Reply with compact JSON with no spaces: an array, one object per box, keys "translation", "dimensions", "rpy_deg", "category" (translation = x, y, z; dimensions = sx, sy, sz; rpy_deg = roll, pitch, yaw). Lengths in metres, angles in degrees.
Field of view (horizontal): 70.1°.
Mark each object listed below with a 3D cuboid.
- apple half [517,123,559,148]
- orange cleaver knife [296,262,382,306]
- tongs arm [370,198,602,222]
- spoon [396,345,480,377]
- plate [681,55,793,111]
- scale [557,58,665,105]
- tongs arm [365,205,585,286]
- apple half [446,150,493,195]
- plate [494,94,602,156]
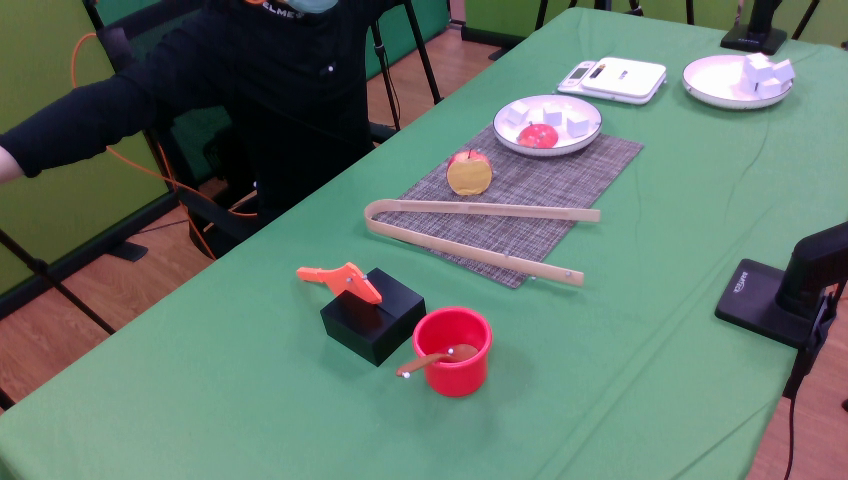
[{"translation":[0.221,-0.207,1.160],"dimensions":[0.081,0.033,0.081],"rpy_deg":[-6,43,6],"category":"apple half"},{"translation":[-0.127,0.064,0.875],"dimensions":[0.012,0.077,0.210],"rpy_deg":[-42,21,-28],"category":"orange cleaver knife"},{"translation":[0.097,-0.048,1.009],"dimensions":[0.386,0.028,0.028],"rpy_deg":[3,46,13],"category":"tongs arm"},{"translation":[0.017,0.142,0.715],"dimensions":[0.041,0.021,0.195],"rpy_deg":[22,5,27],"category":"spoon"},{"translation":[0.636,-0.317,1.239],"dimensions":[0.207,0.039,0.206],"rpy_deg":[-4,40,4],"category":"plate"},{"translation":[0.407,-0.348,1.314],"dimensions":[0.199,0.032,0.149],"rpy_deg":[19,47,28],"category":"scale"},{"translation":[0.067,0.004,0.951],"dimensions":[0.382,0.026,0.051],"rpy_deg":[13,45,23],"category":"tongs arm"},{"translation":[0.080,-0.124,1.065],"dimensions":[0.081,0.075,0.053],"rpy_deg":[-7,37,7],"category":"apple half"},{"translation":[0.240,-0.221,1.181],"dimensions":[0.209,0.038,0.208],"rpy_deg":[-4,41,4],"category":"plate"}]
